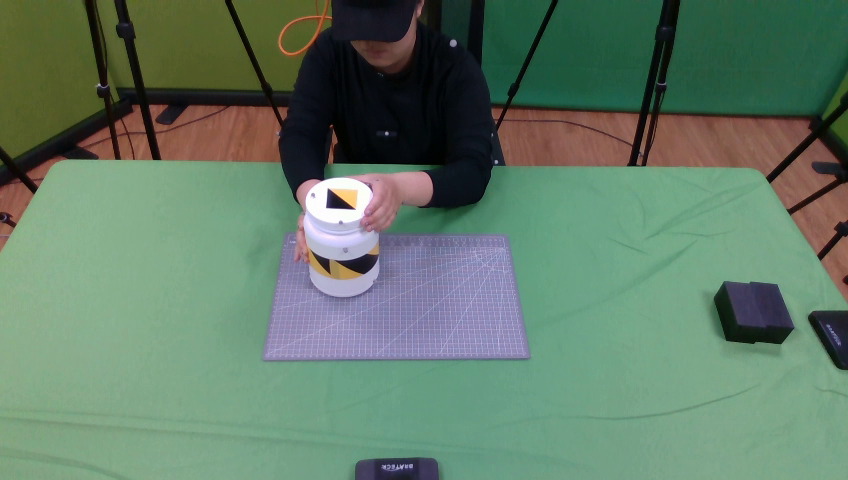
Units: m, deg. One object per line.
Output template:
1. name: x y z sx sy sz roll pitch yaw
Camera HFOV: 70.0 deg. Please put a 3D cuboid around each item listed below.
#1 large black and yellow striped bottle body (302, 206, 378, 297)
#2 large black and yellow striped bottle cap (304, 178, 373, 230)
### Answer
1. large black and yellow striped bottle body: -0.146 -0.002 1.073 0.131 0.185 0.130 2 46 -2
2. large black and yellow striped bottle cap: -0.142 -0.062 1.011 0.115 0.019 0.114 3 46 -3
